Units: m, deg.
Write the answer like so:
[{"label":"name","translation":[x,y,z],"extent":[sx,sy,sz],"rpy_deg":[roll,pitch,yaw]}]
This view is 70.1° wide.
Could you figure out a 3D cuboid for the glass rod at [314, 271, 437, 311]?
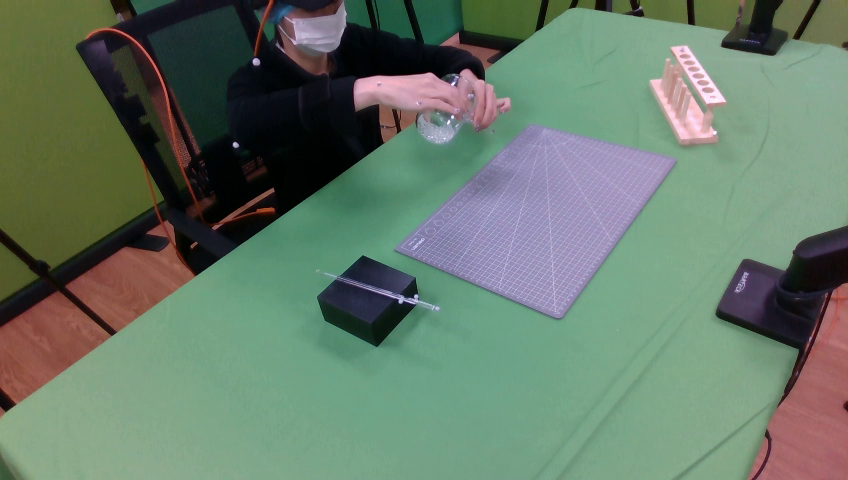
[{"label":"glass rod","translation":[-0.071,0.069,0.837],"extent":[0.198,0.008,0.008],"rpy_deg":[14,44,24]}]

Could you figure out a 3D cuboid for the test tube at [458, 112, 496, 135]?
[{"label":"test tube","translation":[0.098,-0.209,1.092],"extent":[0.017,0.017,0.151],"rpy_deg":[16,7,27]}]

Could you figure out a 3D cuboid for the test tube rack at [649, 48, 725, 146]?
[{"label":"test tube rack","translation":[0.508,-0.285,1.186],"extent":[0.067,0.085,0.241],"rpy_deg":[-4,40,6]}]

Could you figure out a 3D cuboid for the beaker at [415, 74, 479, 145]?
[{"label":"beaker","translation":[0.036,-0.205,0.973],"extent":[0.073,0.084,0.100],"rpy_deg":[10,48,28]}]
